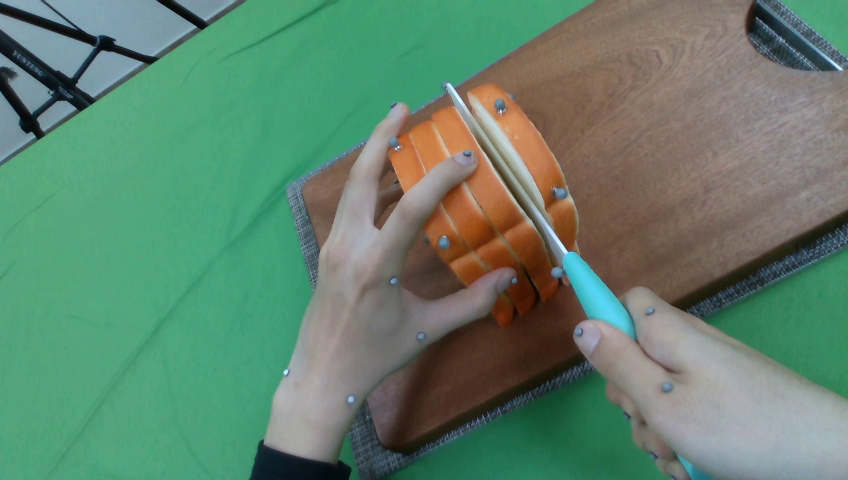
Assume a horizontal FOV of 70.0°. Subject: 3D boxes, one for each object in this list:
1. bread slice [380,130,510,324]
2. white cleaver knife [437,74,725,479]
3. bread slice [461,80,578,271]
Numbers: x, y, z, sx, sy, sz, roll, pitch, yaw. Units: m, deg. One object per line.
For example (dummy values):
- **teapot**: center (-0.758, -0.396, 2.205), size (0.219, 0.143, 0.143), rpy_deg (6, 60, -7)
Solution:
- **bread slice**: center (0.014, -0.014, 0.398), size (0.018, 0.136, 0.106), rpy_deg (-31, 53, 8)
- **white cleaver knife**: center (0.080, 0.006, 0.359), size (0.021, 0.066, 0.283), rpy_deg (-31, 64, 5)
- **bread slice**: center (0.063, -0.040, 0.390), size (0.019, 0.133, 0.104), rpy_deg (-32, 58, 0)
